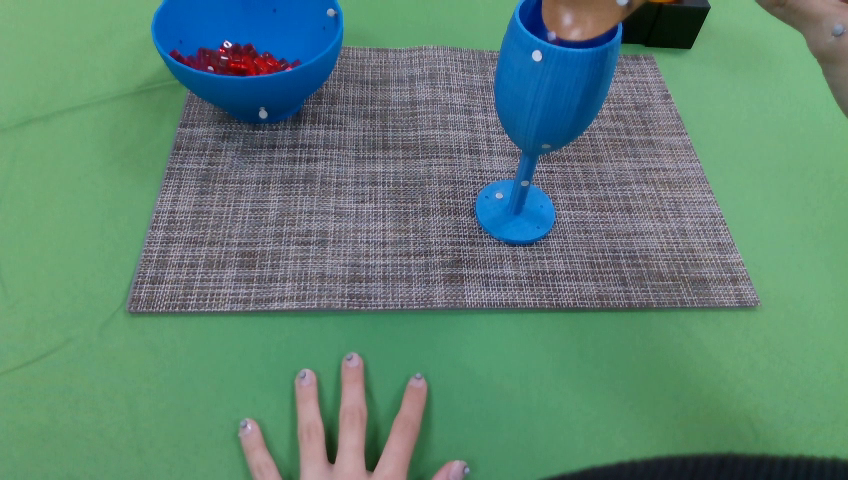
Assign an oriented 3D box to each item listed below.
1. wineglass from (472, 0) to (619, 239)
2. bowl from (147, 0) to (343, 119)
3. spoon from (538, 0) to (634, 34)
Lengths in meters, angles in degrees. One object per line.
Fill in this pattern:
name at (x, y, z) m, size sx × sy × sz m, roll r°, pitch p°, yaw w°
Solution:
wineglass at (0.075, -0.078, 0.414) m, size 0.074 × 0.173 × 0.073 m, roll 2°, pitch 53°, yaw -3°
bowl at (-0.143, -0.157, 0.513) m, size 0.151 × 0.077 × 0.150 m, roll 3°, pitch 53°, yaw -3°
spoon at (0.130, -0.132, 0.291) m, size 0.022 × 0.042 × 0.192 m, roll -24°, pitch 20°, yaw -29°
